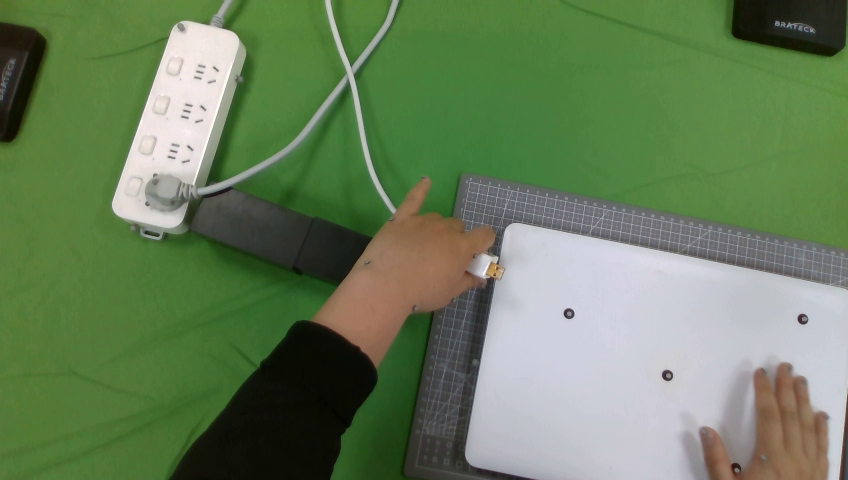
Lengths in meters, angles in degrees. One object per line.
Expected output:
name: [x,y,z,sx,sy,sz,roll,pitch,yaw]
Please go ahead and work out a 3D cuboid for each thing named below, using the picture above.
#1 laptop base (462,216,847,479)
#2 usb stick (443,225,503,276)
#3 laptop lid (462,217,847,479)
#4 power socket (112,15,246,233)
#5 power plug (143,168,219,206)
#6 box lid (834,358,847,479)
laptop base: [0.228,0.123,0.588,0.354,0.023,0.235,11,84,-1]
usb stick: [0.047,0.011,0.543,0.059,0.027,0.021,38,107,22]
laptop lid: [0.227,0.123,0.576,0.357,0.013,0.241,13,82,0]
power socket: [-0.239,-0.119,0.599,0.072,0.032,0.226,14,80,-1]
power plug: [-0.227,-0.042,0.566,0.072,0.053,0.035,27,78,1]
box lid: [0.514,0.291,0.577,0.263,0.015,0.370,11,80,-2]
